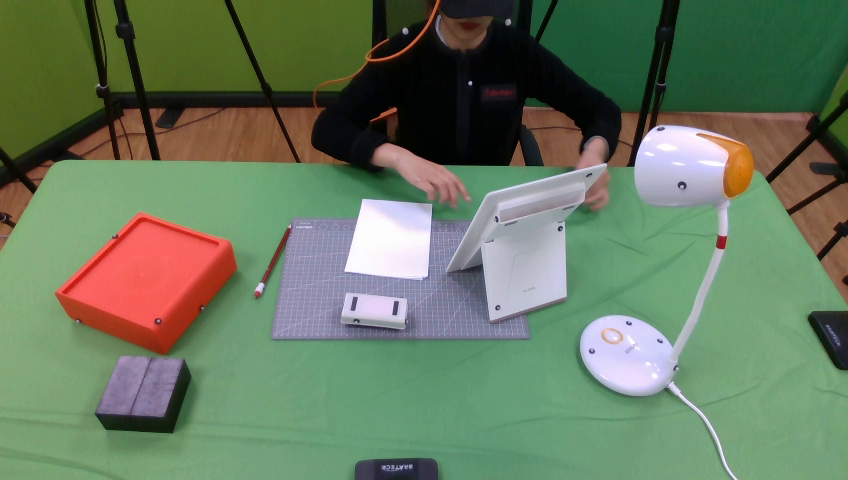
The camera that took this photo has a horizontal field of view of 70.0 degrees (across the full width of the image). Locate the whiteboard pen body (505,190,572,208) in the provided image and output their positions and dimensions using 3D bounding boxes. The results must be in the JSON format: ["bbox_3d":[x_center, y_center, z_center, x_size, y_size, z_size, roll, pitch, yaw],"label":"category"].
[{"bbox_3d":[0.235,-0.086,1.243,0.141,0.017,0.017,-11,47,-2],"label":"whiteboard pen body"}]

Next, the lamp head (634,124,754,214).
[{"bbox_3d":[0.351,-0.089,0.775,0.112,0.113,0.122,-30,30,-28],"label":"lamp head"}]

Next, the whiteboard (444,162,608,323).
[{"bbox_3d":[0.186,0.025,1.028,0.217,0.306,0.143,-14,68,-17],"label":"whiteboard"}]

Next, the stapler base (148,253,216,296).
[{"bbox_3d":[-0.443,0.058,1.108,0.130,0.024,0.041,24,52,11],"label":"stapler base"}]

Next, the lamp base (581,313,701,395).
[{"bbox_3d":[0.361,0.144,0.973,0.178,0.181,0.160,34,53,23],"label":"lamp base"}]

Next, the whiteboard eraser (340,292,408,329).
[{"bbox_3d":[-0.087,0.125,1.052,0.113,0.042,0.055,5,45,1],"label":"whiteboard eraser"}]

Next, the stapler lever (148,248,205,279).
[{"bbox_3d":[-0.443,0.037,1.083,0.118,0.040,0.027,19,50,17],"label":"stapler lever"}]

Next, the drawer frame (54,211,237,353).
[{"bbox_3d":[-0.473,0.067,1.055,0.201,0.083,0.212,17,48,11],"label":"drawer frame"}]

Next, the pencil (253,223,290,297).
[{"bbox_3d":[-0.286,0.033,1.150,0.012,0.012,0.193,9,46,4],"label":"pencil"}]

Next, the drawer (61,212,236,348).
[{"bbox_3d":[-0.473,0.064,1.059,0.194,0.073,0.211,18,48,11],"label":"drawer"}]

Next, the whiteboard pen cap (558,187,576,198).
[{"bbox_3d":[0.294,-0.097,1.244,0.033,0.018,0.018,-12,48,-4],"label":"whiteboard pen cap"}]
